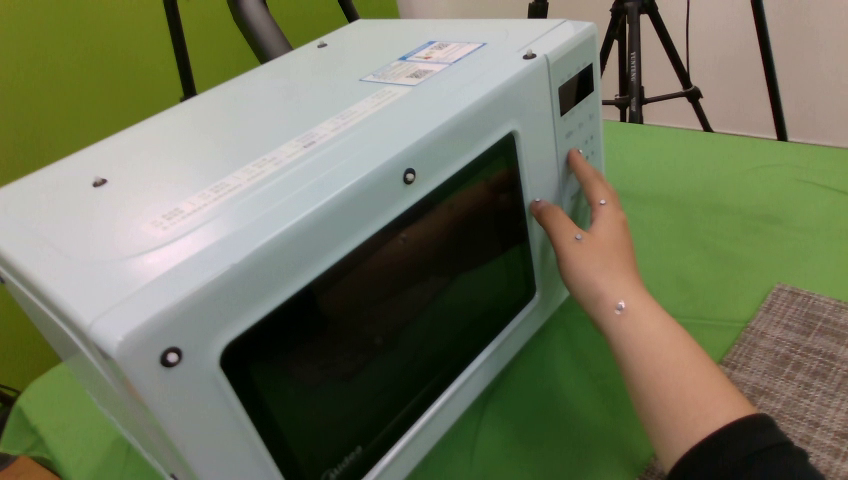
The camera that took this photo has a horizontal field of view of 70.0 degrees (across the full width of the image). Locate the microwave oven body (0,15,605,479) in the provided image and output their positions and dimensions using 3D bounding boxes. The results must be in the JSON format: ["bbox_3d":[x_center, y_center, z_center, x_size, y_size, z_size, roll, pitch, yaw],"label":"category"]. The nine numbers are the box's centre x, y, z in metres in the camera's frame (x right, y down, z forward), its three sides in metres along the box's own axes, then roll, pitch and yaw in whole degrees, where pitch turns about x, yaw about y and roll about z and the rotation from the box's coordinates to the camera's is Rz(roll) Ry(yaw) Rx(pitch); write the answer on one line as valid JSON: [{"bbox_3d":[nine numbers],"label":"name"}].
[{"bbox_3d":[-0.089,-0.004,0.555,0.323,0.263,0.441,18,46,39],"label":"microwave oven body"}]

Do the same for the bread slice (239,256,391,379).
[{"bbox_3d":[-0.098,0.061,0.564,0.131,0.019,0.104,-35,39,-24],"label":"bread slice"}]

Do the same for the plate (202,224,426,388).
[{"bbox_3d":[-0.097,0.058,0.558,0.209,0.038,0.207,-11,33,8],"label":"plate"}]

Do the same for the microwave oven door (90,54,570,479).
[{"bbox_3d":[-0.010,0.047,0.436,0.039,0.246,0.355,18,45,40],"label":"microwave oven door"}]

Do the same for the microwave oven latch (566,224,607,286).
[{"bbox_3d":[0.155,0.014,0.611,0.030,0.030,0.079,20,47,41],"label":"microwave oven latch"}]
